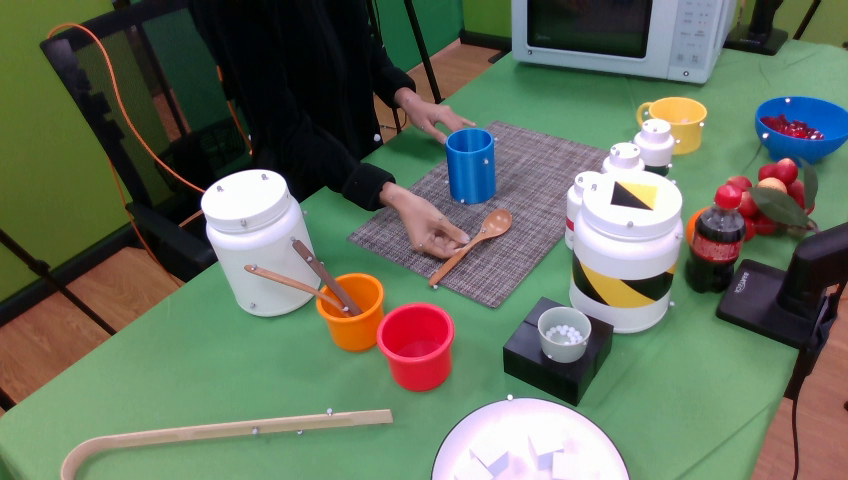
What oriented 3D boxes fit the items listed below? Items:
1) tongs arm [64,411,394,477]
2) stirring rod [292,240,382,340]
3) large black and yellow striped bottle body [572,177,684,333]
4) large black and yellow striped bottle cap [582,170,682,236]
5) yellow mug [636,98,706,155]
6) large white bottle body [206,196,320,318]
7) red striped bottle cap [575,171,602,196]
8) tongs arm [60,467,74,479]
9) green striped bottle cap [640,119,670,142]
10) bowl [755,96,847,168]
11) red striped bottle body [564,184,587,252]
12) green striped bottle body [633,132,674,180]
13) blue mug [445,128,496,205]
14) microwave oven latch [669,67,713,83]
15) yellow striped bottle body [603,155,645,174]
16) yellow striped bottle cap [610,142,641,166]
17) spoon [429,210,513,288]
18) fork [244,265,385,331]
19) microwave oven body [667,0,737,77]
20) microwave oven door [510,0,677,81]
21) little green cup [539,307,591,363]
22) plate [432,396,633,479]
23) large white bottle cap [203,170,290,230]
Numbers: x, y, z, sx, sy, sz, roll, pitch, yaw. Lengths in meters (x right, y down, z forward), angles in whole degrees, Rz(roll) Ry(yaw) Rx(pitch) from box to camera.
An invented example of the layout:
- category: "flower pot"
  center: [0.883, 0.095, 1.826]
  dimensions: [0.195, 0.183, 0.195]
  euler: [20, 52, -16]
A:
- category: "tongs arm"
  center: [-0.228, 0.241, 0.715]
  dimensions: [0.385, 0.026, 0.050]
  euler: [-5, 43, 4]
- category: "stirring rod"
  center: [-0.119, 0.068, 0.826]
  dimensions: [0.176, 0.006, 0.014]
  euler: [49, 59, -4]
- category: "large black and yellow striped bottle body"
  center: [0.262, 0.017, 0.788]
  dimensions: [0.131, 0.185, 0.130]
  euler: [-5, 40, 4]
- category: "large black and yellow striped bottle cap"
  center: [0.252, -0.048, 0.735]
  dimensions: [0.115, 0.019, 0.114]
  euler: [-3, 40, 3]
- category: "yellow mug"
  center: [0.453, -0.217, 1.128]
  dimensions: [0.100, 0.064, 0.129]
  euler: [-34, 46, -27]
- category: "large white bottle body"
  center: [-0.233, 0.008, 0.876]
  dimensions: [0.130, 0.185, 0.130]
  euler: [-4, 40, 4]
- category: "red striped bottle cap"
  center: [0.242, -0.081, 0.876]
  dimensions: [0.044, 0.018, 0.044]
  euler: [-5, 44, 5]
- category: "tongs arm"
  center: [-0.239, 0.301, 0.648]
  dimensions: [0.386, 0.028, 0.028]
  euler: [6, 49, 16]
- category: "green striped bottle cap"
  center: [0.371, -0.174, 0.968]
  dimensions: [0.044, 0.020, 0.044]
  euler: [-3, 41, 3]
- category: "bowl"
  center: [0.645, -0.177, 1.041]
  dimensions: [0.151, 0.077, 0.150]
  euler: [-5, 40, 4]
- category: "red striped bottle body"
  center: [0.247, -0.041, 0.910]
  dimensions: [0.063, 0.120, 0.062]
  euler: [-3, 39, 3]
- category: "green striped bottle body"
  center: [0.376, -0.135, 1.001]
  dimensions: [0.063, 0.120, 0.063]
  euler: [-5, 40, 5]
- category: "blue mug"
  center: [0.082, -0.137, 1.056]
  dimensions: [0.082, 0.106, 0.116]
  euler: [-4, 40, 4]
- category: "microwave oven latch"
  center: [0.556, -0.348, 1.261]
  dimensions: [0.078, 0.029, 0.030]
  euler: [16, 46, 27]
- category: "yellow striped bottle body"
  center: [0.314, -0.090, 0.957]
  dimensions: [0.063, 0.121, 0.062]
  euler: [-4, 40, 4]
- category: "yellow striped bottle cap"
  center: [0.309, -0.131, 0.925]
  dimensions: [0.044, 0.019, 0.044]
  euler: [-4, 45, 5]
- category: "spoon"
  center: [0.072, 0.012, 0.945]
  dimensions: [0.041, 0.021, 0.194]
  euler: [41, 57, 17]
- category: "fork"
  center: [-0.142, 0.078, 0.806]
  dimensions: [0.209, 0.018, 0.028]
  euler: [30, 32, -23]
- category: "microwave oven body"
  center: [0.462, -0.552, 1.369]
  dimensions: [0.439, 0.261, 0.326]
  euler: [15, 45, 26]
- category: "microwave oven door"
  center: [0.354, -0.478, 1.290]
  dimensions: [0.353, 0.245, 0.039]
  euler: [15, 45, 25]
- category: "little green cup"
  center: [0.167, 0.114, 0.721]
  dimensions: [0.061, 0.039, 0.061]
  euler: [-4, 43, 4]
- category: "plate"
  center: [0.112, 0.261, 0.634]
  dimensions: [0.209, 0.038, 0.208]
  euler: [-5, 40, 4]
- category: "large white bottle cap"
  center: [-0.241, -0.057, 0.822]
  dimensions: [0.115, 0.018, 0.114]
  euler: [-4, 40, 4]
